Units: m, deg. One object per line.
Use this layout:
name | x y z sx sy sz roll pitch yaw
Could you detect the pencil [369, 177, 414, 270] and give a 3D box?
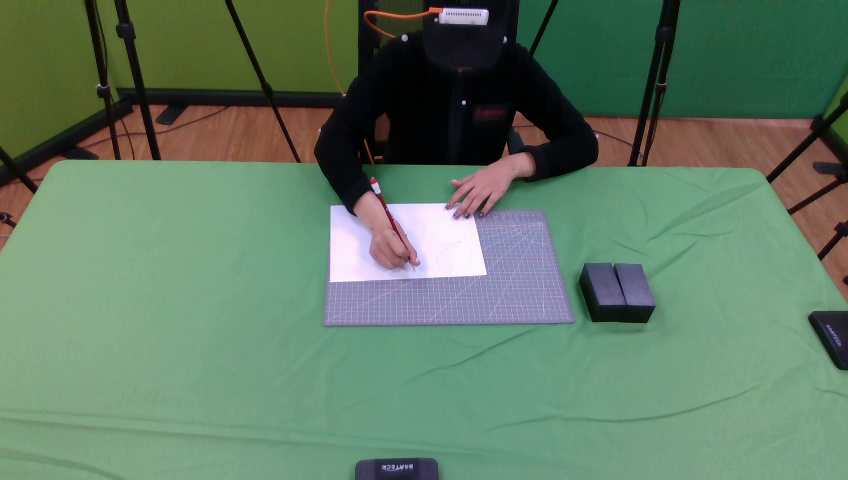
pencil | -0.058 -0.028 1.122 0.012 0.194 0.012 -23 17 7
